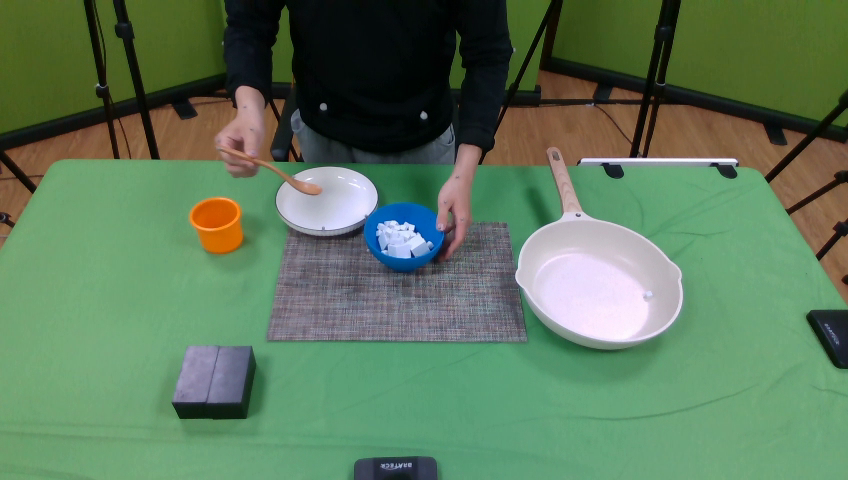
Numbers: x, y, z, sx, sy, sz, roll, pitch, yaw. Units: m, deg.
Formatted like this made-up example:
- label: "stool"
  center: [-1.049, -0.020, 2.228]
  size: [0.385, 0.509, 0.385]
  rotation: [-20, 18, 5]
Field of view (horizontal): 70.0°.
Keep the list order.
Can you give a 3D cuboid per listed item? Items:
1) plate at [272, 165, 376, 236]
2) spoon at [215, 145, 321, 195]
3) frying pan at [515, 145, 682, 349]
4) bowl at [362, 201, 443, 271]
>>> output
- label: "plate"
  center: [-0.203, -0.076, 1.241]
  size: [0.208, 0.039, 0.206]
  rotation: [3, 44, -2]
- label: "spoon"
  center: [-0.256, -0.118, 1.012]
  size: [0.195, 0.021, 0.041]
  rotation: [28, 21, -37]
- label: "frying pan"
  center: [0.302, -0.004, 1.168]
  size: [0.307, 0.103, 0.484]
  rotation: [-2, 55, -7]
- label: "bowl"
  center: [-0.041, 0.006, 1.144]
  size: [0.151, 0.077, 0.150]
  rotation: [2, 46, -2]
